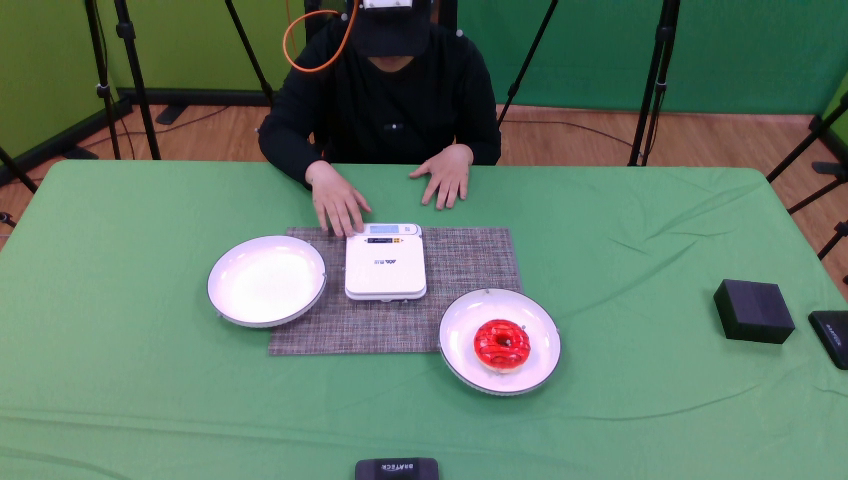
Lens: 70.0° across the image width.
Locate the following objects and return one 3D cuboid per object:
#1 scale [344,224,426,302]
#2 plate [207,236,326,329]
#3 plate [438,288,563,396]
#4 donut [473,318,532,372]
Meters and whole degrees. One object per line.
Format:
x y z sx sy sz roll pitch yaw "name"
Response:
-0.075 0.033 1.149 0.149 0.032 0.199 0 45 -5 "scale"
-0.278 0.078 1.088 0.208 0.039 0.206 1 46 0 "plate"
0.127 0.173 1.025 0.209 0.038 0.208 3 48 -3 "plate"
0.131 0.174 1.010 0.099 0.048 0.098 1 48 -1 "donut"
